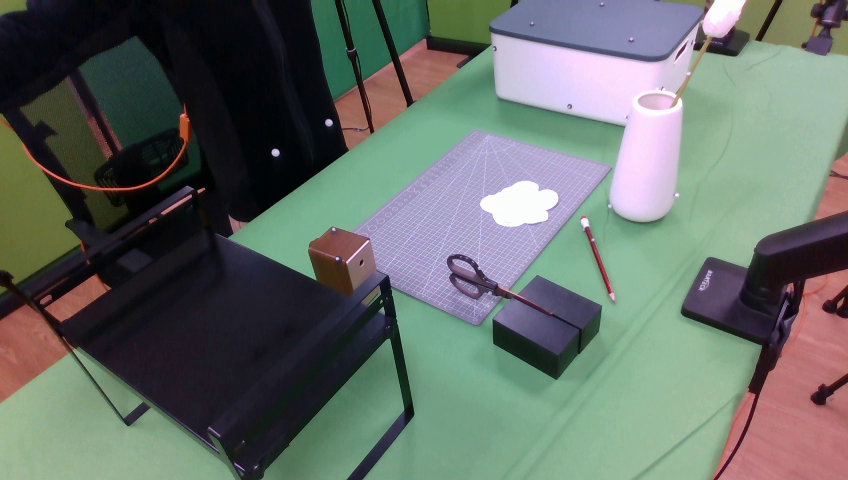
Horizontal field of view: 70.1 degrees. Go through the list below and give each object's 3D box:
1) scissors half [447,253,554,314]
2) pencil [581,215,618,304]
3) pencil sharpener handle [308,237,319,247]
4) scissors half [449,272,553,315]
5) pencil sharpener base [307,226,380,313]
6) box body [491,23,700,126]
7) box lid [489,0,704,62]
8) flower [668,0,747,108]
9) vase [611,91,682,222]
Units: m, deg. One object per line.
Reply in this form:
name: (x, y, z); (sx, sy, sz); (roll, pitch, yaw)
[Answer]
scissors half: (0.101, 0.060, 0.821); (0.174, 0.040, 0.013); (29, 51, 28)
pencil: (0.266, 0.025, 0.916); (0.012, 0.012, 0.193); (-6, 42, 1)
pencil sharpener handle: (-0.158, 0.017, 0.892); (0.030, 0.068, 0.036); (18, 61, 28)
scissors half: (0.104, 0.076, 0.834); (0.173, 0.040, 0.013); (15, 48, 42)
pencil sharpener base: (-0.116, 0.043, 0.875); (0.076, 0.107, 0.061); (18, 47, 27)
box body: (0.351, -0.384, 1.267); (0.361, 0.161, 0.255); (21, 47, 29)
box lid: (0.346, -0.440, 1.218); (0.369, 0.015, 0.264); (21, 48, 29)
flower: (0.355, -0.187, 0.880); (0.038, 0.362, 0.044); (30, 48, 14)
vase: (0.348, -0.125, 0.935); (0.098, 0.201, 0.097); (-3, 40, 3)
